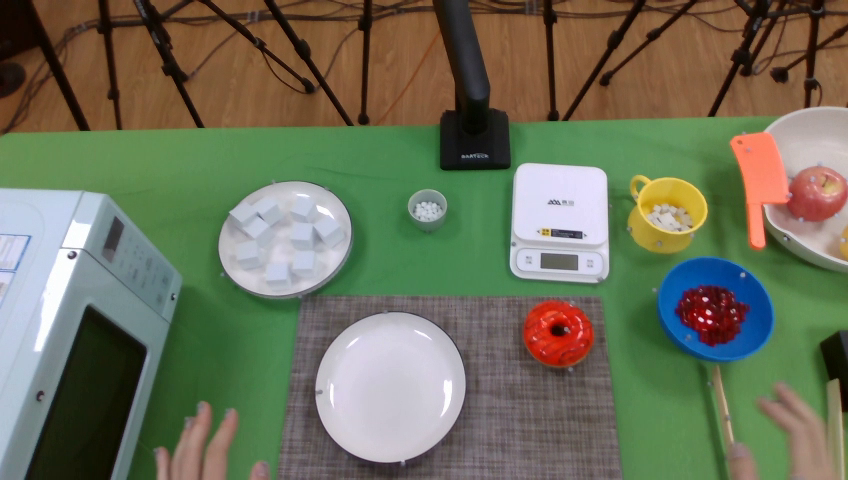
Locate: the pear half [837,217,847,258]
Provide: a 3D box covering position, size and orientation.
[{"bbox_3d":[0.639,-0.006,0.863,0.076,0.111,0.056,32,69,22],"label":"pear half"}]

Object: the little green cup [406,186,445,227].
[{"bbox_3d":[0.003,-0.051,0.964,0.061,0.039,0.061,-1,62,3],"label":"little green cup"}]

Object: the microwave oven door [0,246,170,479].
[{"bbox_3d":[-0.407,0.216,0.707,0.039,0.246,0.353,2,62,4],"label":"microwave oven door"}]

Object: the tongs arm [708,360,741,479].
[{"bbox_3d":[0.411,0.337,0.742,0.051,0.027,0.381,2,64,-1],"label":"tongs arm"}]

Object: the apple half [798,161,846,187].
[{"bbox_3d":[0.608,-0.092,0.928,0.080,0.082,0.033,38,74,20],"label":"apple half"}]

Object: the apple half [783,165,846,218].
[{"bbox_3d":[0.582,-0.066,0.917,0.080,0.075,0.053,39,74,17],"label":"apple half"}]

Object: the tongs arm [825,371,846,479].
[{"bbox_3d":[0.497,0.345,0.737,0.028,0.028,0.385,16,65,3],"label":"tongs arm"}]

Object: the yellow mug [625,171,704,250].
[{"bbox_3d":[0.358,-0.055,0.932,0.100,0.064,0.129,-29,64,-11],"label":"yellow mug"}]

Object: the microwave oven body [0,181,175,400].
[{"bbox_3d":[-0.549,0.176,0.741,0.326,0.262,0.438,3,63,4],"label":"microwave oven body"}]

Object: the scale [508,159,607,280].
[{"bbox_3d":[0.210,-0.036,0.949,0.148,0.032,0.199,4,63,5],"label":"scale"}]

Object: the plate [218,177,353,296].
[{"bbox_3d":[-0.213,-0.004,0.950,0.207,0.039,0.206,-1,62,2],"label":"plate"}]

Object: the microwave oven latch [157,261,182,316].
[{"bbox_3d":[-0.383,0.071,0.897,0.030,0.030,0.078,4,63,4],"label":"microwave oven latch"}]

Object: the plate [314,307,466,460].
[{"bbox_3d":[-0.045,0.195,0.833,0.209,0.038,0.207,-1,62,3],"label":"plate"}]

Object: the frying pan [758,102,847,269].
[{"bbox_3d":[0.679,-0.005,0.868,0.307,0.104,0.482,-24,56,-8],"label":"frying pan"}]

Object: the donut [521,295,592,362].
[{"bbox_3d":[0.186,0.125,0.855,0.099,0.048,0.098,-2,63,4],"label":"donut"}]

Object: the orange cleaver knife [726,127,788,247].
[{"bbox_3d":[0.498,-0.084,0.898,0.077,0.012,0.209,4,63,8],"label":"orange cleaver knife"}]

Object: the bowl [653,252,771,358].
[{"bbox_3d":[0.388,0.100,0.843,0.151,0.077,0.150,-1,63,3],"label":"bowl"}]
